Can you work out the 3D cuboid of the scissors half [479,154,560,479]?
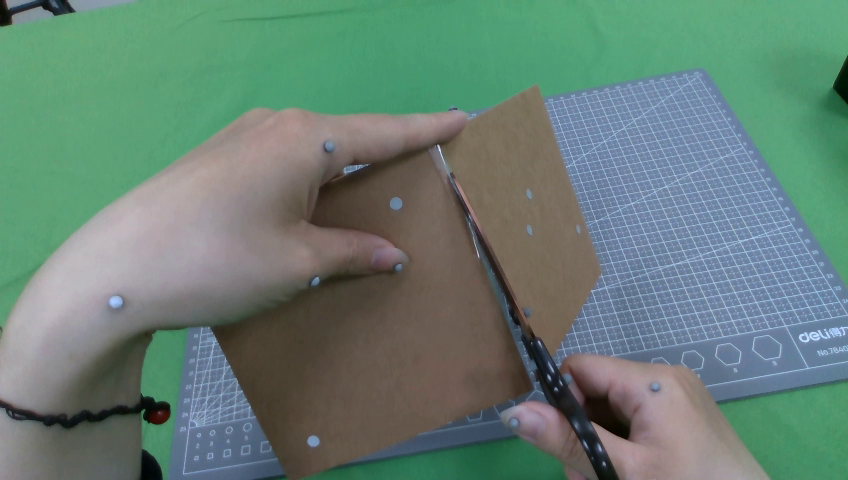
[{"bbox_3d":[0.047,0.044,0.297,0.013,0.176,0.040,-16,13,-10],"label":"scissors half"}]

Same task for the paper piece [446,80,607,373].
[{"bbox_3d":[0.068,-0.017,0.343,0.004,0.136,0.135,-19,12,33],"label":"paper piece"}]

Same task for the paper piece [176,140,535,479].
[{"bbox_3d":[-0.035,0.040,0.296,0.138,0.008,0.136,-22,93,10],"label":"paper piece"}]

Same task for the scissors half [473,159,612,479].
[{"bbox_3d":[0.051,0.043,0.276,0.013,0.040,0.174,-16,79,-15],"label":"scissors half"}]
